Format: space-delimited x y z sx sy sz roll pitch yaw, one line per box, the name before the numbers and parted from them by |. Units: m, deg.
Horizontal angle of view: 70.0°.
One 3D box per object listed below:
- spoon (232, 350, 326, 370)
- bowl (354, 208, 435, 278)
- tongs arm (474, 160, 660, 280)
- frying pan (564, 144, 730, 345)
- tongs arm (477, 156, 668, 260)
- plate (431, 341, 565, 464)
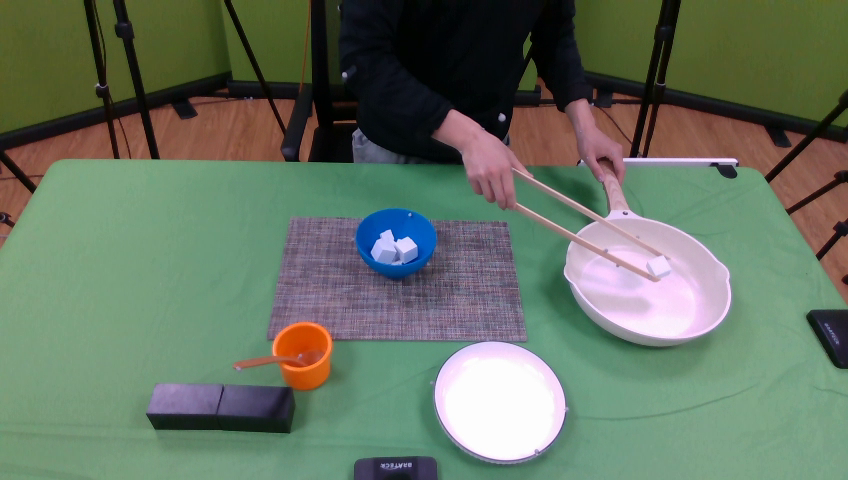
spoon | -0.216 0.182 0.919 0.041 0.194 0.021 44 102 27
bowl | -0.055 0.018 1.131 0.151 0.077 0.150 2 45 -2
tongs arm | 0.257 -0.032 1.084 0.385 0.026 0.050 26 79 -6
frying pan | 0.396 -0.008 1.179 0.307 0.103 0.484 0 55 -5
tongs arm | 0.270 -0.057 1.090 0.388 0.028 0.028 29 82 -5
plate | 0.114 0.255 0.951 0.208 0.039 0.206 3 46 -2
